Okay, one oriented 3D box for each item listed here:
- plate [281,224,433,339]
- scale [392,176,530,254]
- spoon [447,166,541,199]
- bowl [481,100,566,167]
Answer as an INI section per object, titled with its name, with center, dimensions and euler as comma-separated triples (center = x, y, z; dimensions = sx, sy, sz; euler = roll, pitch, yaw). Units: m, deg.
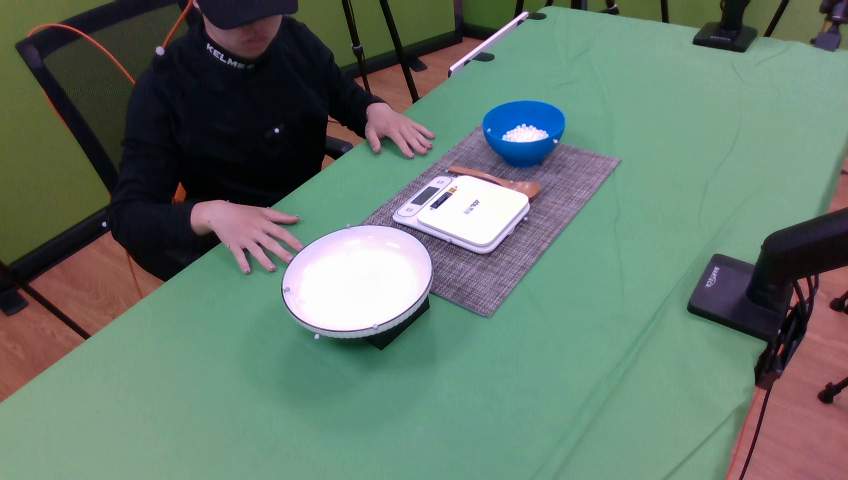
[plate]
center = -0.089, 0.057, 0.825
dimensions = 0.209, 0.038, 0.208
euler = -4, 40, 4
[scale]
center = 0.060, -0.050, 1.006
dimensions = 0.199, 0.032, 0.149
euler = 22, 48, 30
[spoon]
center = 0.120, -0.107, 1.071
dimensions = 0.192, 0.022, 0.041
euler = 23, 64, 31
[bowl]
center = 0.183, -0.186, 1.111
dimensions = 0.151, 0.077, 0.150
euler = -4, 41, 4
